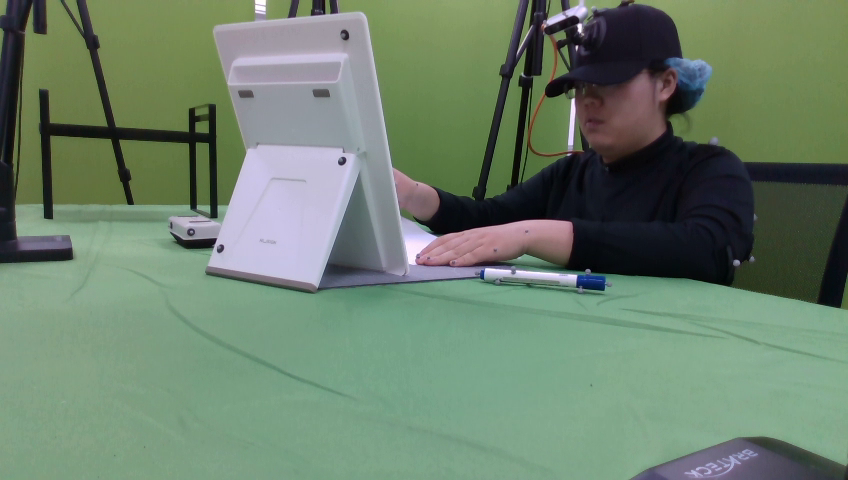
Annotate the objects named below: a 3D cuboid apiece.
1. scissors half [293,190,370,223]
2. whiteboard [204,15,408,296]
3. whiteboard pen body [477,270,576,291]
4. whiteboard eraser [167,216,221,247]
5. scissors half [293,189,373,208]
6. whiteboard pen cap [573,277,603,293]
[{"bbox_3d":[-0.205,-0.077,1.338,0.175,0.040,0.013,22,12,-8],"label":"scissors half"},{"bbox_3d":[-0.166,-0.072,0.669,0.216,0.305,0.144,8,30,30],"label":"whiteboard"},{"bbox_3d":[0.131,0.048,0.706,0.140,0.017,0.017,4,8,18],"label":"whiteboard pen body"},{"bbox_3d":[-0.350,-0.013,0.920,0.056,0.042,0.112,0,7,-35],"label":"whiteboard eraser"},{"bbox_3d":[-0.201,-0.096,1.332,0.175,0.040,0.013,5,19,-4],"label":"scissors half"},{"bbox_3d":[0.186,0.051,0.687,0.033,0.018,0.018,4,8,17],"label":"whiteboard pen cap"}]
